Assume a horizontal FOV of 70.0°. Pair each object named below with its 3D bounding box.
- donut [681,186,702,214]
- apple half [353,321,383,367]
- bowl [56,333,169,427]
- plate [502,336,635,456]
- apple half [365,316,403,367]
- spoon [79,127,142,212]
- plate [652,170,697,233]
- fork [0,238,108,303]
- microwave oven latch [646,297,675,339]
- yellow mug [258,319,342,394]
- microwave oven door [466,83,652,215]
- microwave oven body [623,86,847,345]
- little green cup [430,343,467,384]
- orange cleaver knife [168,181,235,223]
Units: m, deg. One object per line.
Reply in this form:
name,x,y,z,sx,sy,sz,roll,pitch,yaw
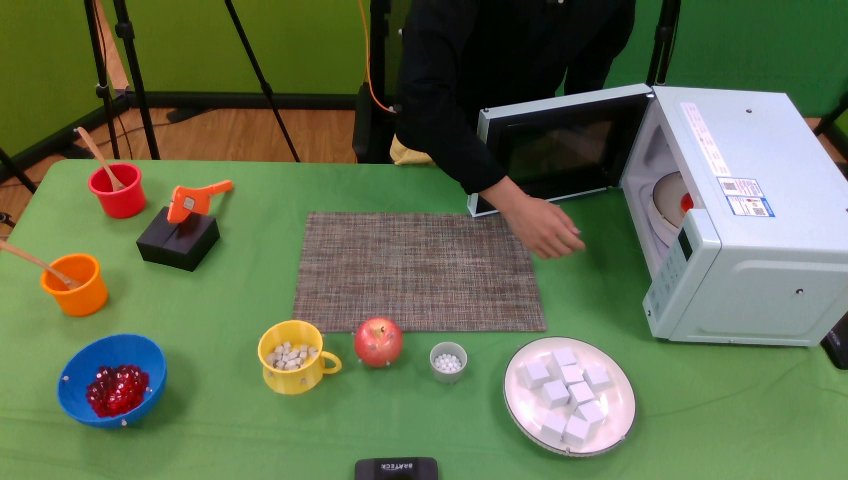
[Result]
donut,0.553,-0.067,1.184,0.099,0.048,0.098,2,49,-2
apple half,-0.097,0.177,0.984,0.033,0.081,0.081,-16,49,-25
bowl,-0.456,0.223,0.912,0.151,0.077,0.150,3,46,-2
plate,0.225,0.248,0.963,0.208,0.039,0.206,2,46,-2
apple half,-0.063,0.165,1.000,0.053,0.075,0.080,-16,45,-24
spoon,-0.624,-0.140,1.203,0.041,0.021,0.194,-33,100,-26
plate,0.555,-0.059,1.196,0.209,0.038,0.208,2,46,-1
fork,-0.633,0.048,1.017,0.208,0.018,0.028,40,43,-27
microwave oven latch,0.412,0.134,1.061,0.030,0.029,0.078,4,45,1
yellow mug,-0.195,0.188,0.972,0.131,0.064,0.099,9,47,4
microwave oven door,0.266,-0.181,1.214,0.356,0.245,0.039,-12,49,-15
microwave oven body,0.567,-0.053,1.118,0.326,0.261,0.439,2,45,-1
little green cup,0.039,0.203,0.993,0.061,0.039,0.061,2,46,-2
orange cleaver knife,-0.436,-0.078,1.196,0.012,0.077,0.211,16,15,10
